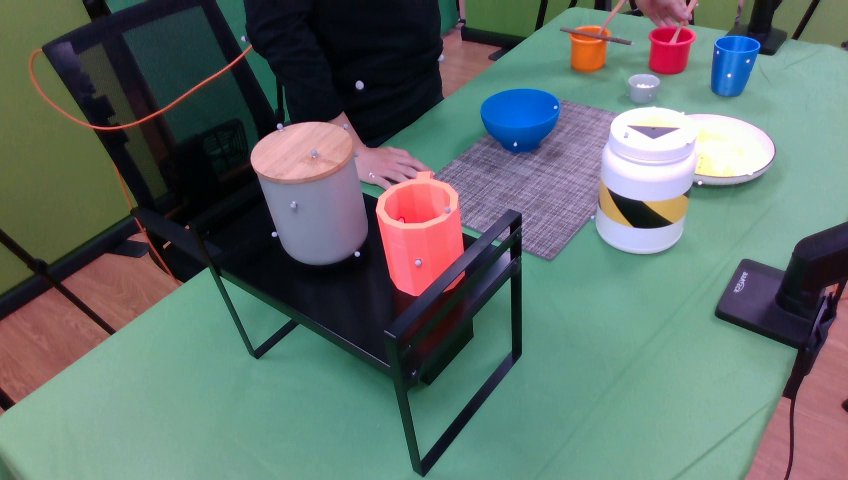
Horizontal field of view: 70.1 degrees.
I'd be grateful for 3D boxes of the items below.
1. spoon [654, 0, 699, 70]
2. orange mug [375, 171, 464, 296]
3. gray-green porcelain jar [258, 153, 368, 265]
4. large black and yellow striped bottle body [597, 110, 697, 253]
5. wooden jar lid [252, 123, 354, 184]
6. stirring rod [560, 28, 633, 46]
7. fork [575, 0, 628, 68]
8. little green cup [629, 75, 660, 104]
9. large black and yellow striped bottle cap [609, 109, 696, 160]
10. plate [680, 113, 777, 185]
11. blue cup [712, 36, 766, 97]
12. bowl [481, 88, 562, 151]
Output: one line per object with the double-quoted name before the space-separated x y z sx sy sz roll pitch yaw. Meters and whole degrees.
"spoon" 0.566 -0.463 1.335 0.041 0.193 0.022 30 8 35
"orange mug" -0.001 -0.016 0.662 0.083 0.101 0.125 -2 45 8
"gray-green porcelain jar" -0.122 -0.043 0.692 0.106 0.127 0.105 -4 40 4
"large black and yellow striped bottle body" 0.331 -0.086 0.903 0.131 0.185 0.130 -5 40 4
"wooden jar lid" -0.129 -0.090 0.652 0.108 0.021 0.108 -3 41 4
"stirring rod" 0.381 -0.453 1.344 0.174 0.006 0.014 26 49 33
"fork" 0.413 -0.481 1.378 0.207 0.019 0.028 -57 43 12
"little green cup" 0.457 -0.313 1.260 0.061 0.039 0.061 -4 40 4
"large black and yellow striped bottle cap" 0.320 -0.150 0.849 0.115 0.019 0.114 -4 40 3
"plate" 0.506 -0.158 1.073 0.209 0.038 0.208 -5 40 4
"blue cup" 0.627 -0.350 1.227 0.092 0.100 0.092 -4 39 4
"bowl" 0.187 -0.223 1.161 0.151 0.077 0.150 -5 40 4
